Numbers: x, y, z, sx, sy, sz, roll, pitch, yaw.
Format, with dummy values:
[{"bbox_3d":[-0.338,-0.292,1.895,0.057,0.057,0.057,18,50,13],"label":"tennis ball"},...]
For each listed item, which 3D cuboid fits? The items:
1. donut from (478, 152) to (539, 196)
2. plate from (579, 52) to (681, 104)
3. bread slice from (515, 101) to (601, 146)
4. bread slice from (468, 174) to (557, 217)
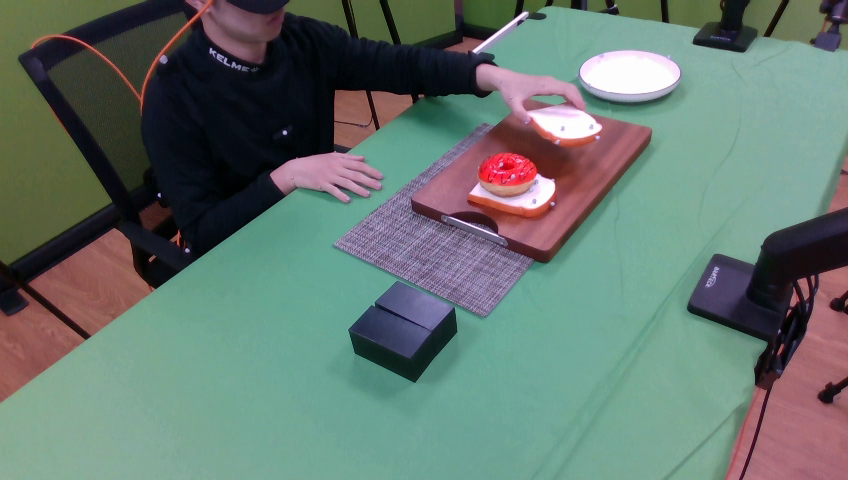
[{"bbox_3d":[0.138,-0.109,0.991,0.099,0.048,0.098,-4,38,3],"label":"donut"},{"bbox_3d":[0.437,-0.343,1.294,0.209,0.038,0.208,-4,40,4],"label":"plate"},{"bbox_3d":[0.240,-0.201,1.049,0.107,0.018,0.133,-18,40,-21],"label":"bread slice"},{"bbox_3d":[0.154,-0.083,1.004,0.130,0.019,0.105,18,48,29],"label":"bread slice"}]
